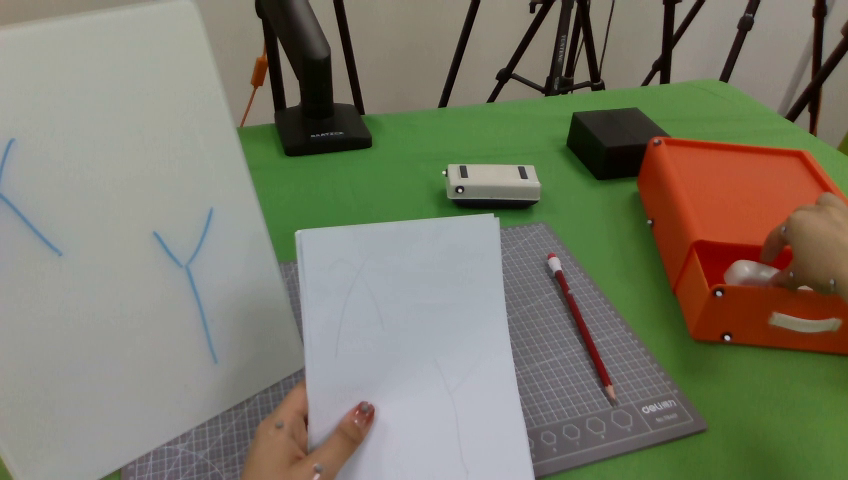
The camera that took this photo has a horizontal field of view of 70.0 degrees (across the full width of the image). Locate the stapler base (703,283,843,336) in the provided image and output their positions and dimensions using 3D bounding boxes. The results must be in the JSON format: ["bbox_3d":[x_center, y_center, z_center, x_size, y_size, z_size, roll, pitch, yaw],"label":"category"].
[{"bbox_3d":[0.347,0.064,0.599,0.130,0.024,0.041,8,57,6],"label":"stapler base"}]

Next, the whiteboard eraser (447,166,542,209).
[{"bbox_3d":[0.085,-0.064,0.742,0.113,0.042,0.055,1,39,-4],"label":"whiteboard eraser"}]

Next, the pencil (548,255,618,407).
[{"bbox_3d":[0.151,0.079,0.583,0.012,0.012,0.192,-2,40,-8],"label":"pencil"}]

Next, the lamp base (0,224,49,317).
[{"bbox_3d":[-0.453,-0.028,0.529,0.178,0.182,0.160,15,39,18],"label":"lamp base"}]

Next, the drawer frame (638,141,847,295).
[{"bbox_3d":[0.364,-0.021,0.678,0.201,0.083,0.211,5,37,2],"label":"drawer frame"}]

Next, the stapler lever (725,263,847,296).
[{"bbox_3d":[0.348,0.048,0.577,0.118,0.040,0.026,9,57,5],"label":"stapler lever"}]

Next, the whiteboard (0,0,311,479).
[{"bbox_3d":[-0.247,-0.002,0.460,0.217,0.307,0.142,-25,27,-31],"label":"whiteboard"}]

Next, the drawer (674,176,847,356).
[{"bbox_3d":[0.358,0.018,0.630,0.194,0.074,0.210,5,37,3],"label":"drawer"}]
